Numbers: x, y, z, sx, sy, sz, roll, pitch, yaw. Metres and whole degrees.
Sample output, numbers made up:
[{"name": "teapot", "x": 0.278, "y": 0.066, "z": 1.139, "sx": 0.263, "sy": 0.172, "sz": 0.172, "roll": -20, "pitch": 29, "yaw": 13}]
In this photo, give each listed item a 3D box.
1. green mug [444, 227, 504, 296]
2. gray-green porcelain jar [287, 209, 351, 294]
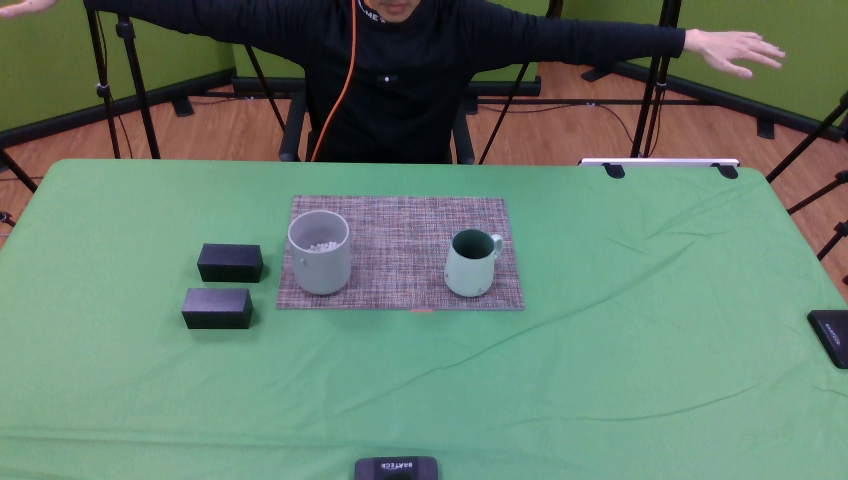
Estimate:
[{"name": "green mug", "x": 0.097, "y": 0.033, "z": 1.110, "sx": 0.125, "sy": 0.105, "sz": 0.092, "roll": -31, "pitch": 55, "yaw": -29}, {"name": "gray-green porcelain jar", "x": -0.184, "y": 0.026, "z": 1.080, "sx": 0.106, "sy": 0.127, "sz": 0.105, "roll": 2, "pitch": 47, "yaw": -2}]
